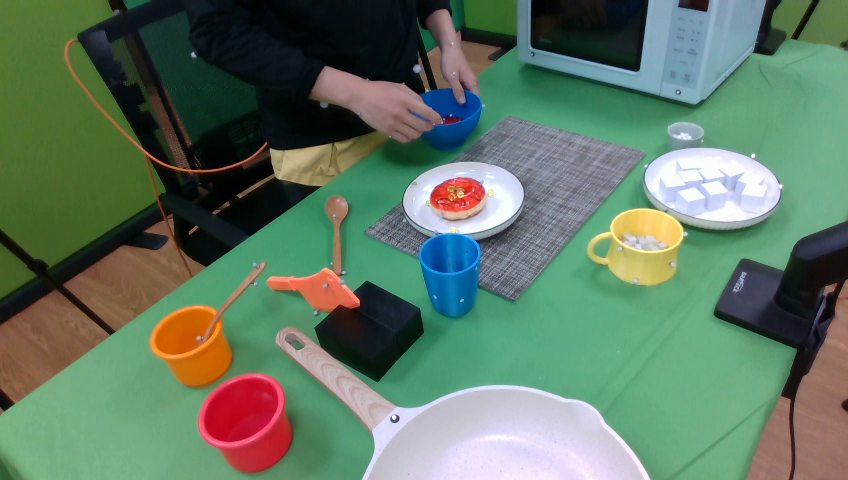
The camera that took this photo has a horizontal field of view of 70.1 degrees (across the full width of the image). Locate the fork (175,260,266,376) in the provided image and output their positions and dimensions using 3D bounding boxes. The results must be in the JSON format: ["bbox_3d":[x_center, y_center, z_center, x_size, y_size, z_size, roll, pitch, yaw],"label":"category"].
[{"bbox_3d":[-0.268,0.103,0.792,0.207,0.019,0.028,-51,41,16],"label":"fork"}]

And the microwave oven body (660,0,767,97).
[{"bbox_3d":[0.473,-0.516,1.313,0.438,0.261,0.327,26,51,34],"label":"microwave oven body"}]

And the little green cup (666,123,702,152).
[{"bbox_3d":[0.472,-0.183,1.102,0.061,0.039,0.061,-5,40,5],"label":"little green cup"}]

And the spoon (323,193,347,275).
[{"bbox_3d":[-0.148,-0.014,1.007,0.042,0.021,0.192,5,39,-13],"label":"spoon"}]

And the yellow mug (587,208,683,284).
[{"bbox_3d":[0.305,0.009,0.884,0.131,0.064,0.099,-4,41,5],"label":"yellow mug"}]

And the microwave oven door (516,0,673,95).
[{"bbox_3d":[0.344,-0.458,1.256,0.353,0.245,0.039,26,51,33],"label":"microwave oven door"}]

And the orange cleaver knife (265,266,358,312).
[{"bbox_3d":[-0.164,0.073,0.864,0.210,0.077,0.012,-6,31,50],"label":"orange cleaver knife"}]

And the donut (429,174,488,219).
[{"bbox_3d":[0.058,-0.075,1.015,0.099,0.048,0.098,-6,38,5],"label":"donut"}]

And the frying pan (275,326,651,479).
[{"bbox_3d":[0.004,0.229,0.641,0.484,0.103,0.308,34,54,28],"label":"frying pan"}]

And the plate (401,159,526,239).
[{"bbox_3d":[0.067,-0.065,1.019,0.209,0.038,0.208,-4,40,4],"label":"plate"}]

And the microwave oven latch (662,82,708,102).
[{"bbox_3d":[0.517,-0.298,1.202,0.078,0.029,0.030,27,52,34],"label":"microwave oven latch"}]

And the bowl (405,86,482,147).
[{"bbox_3d":[0.041,-0.236,1.197,0.151,0.077,0.150,-4,40,4],"label":"bowl"}]

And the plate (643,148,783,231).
[{"bbox_3d":[0.464,-0.080,0.986,0.207,0.039,0.206,-4,41,4],"label":"plate"}]

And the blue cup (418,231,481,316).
[{"bbox_3d":[0.040,0.053,0.843,0.092,0.100,0.092,-4,43,4],"label":"blue cup"}]
